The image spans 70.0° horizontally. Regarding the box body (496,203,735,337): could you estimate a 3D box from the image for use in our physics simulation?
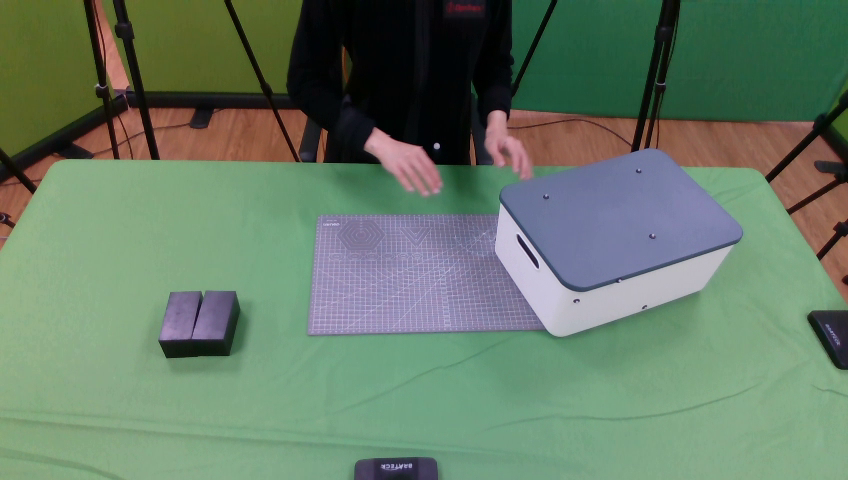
[{"bbox_3d":[0.340,0.003,1.118,0.364,0.161,0.252,-15,49,-18],"label":"box body"}]

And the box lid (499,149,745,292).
[{"bbox_3d":[0.341,-0.048,1.064,0.372,0.015,0.261,-15,49,-18],"label":"box lid"}]
